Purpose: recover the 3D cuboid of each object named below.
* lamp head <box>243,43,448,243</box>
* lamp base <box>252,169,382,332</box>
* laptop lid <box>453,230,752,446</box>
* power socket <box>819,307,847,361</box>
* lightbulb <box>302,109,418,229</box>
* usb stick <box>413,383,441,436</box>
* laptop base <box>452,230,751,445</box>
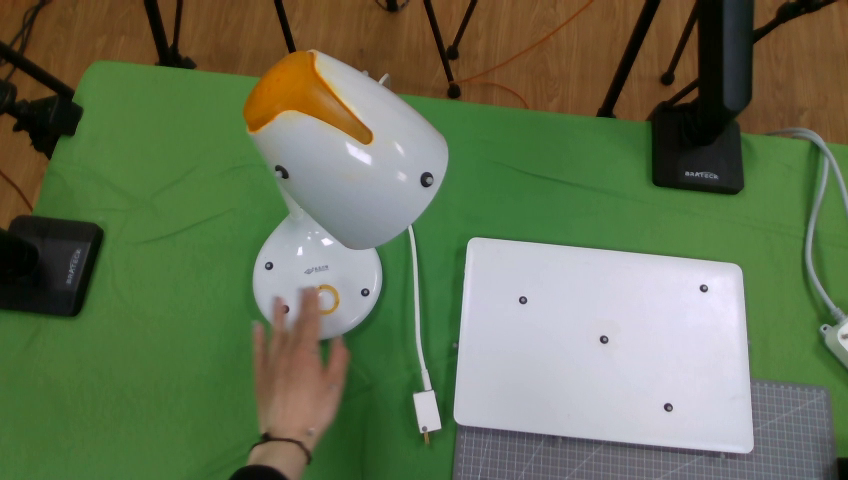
[{"bbox_3d":[-0.063,-0.074,0.418,0.124,0.111,0.112,38,68,-33],"label":"lamp head"},{"bbox_3d":[-0.137,0.001,0.689,0.161,0.181,0.178,-23,71,-9],"label":"lamp base"},{"bbox_3d":[0.218,0.114,0.737,0.357,0.013,0.240,7,72,1],"label":"laptop lid"},{"bbox_3d":[0.587,0.171,0.733,0.072,0.033,0.225,-34,75,-13],"label":"power socket"},{"bbox_3d":[-0.047,-0.052,0.431,0.059,0.109,0.059,-24,42,24],"label":"lightbulb"},{"bbox_3d":[0.004,0.198,0.708,0.027,0.021,0.059,-7,81,-6],"label":"usb stick"},{"bbox_3d":[0.218,0.115,0.748,0.354,0.023,0.234,6,74,0],"label":"laptop base"}]
